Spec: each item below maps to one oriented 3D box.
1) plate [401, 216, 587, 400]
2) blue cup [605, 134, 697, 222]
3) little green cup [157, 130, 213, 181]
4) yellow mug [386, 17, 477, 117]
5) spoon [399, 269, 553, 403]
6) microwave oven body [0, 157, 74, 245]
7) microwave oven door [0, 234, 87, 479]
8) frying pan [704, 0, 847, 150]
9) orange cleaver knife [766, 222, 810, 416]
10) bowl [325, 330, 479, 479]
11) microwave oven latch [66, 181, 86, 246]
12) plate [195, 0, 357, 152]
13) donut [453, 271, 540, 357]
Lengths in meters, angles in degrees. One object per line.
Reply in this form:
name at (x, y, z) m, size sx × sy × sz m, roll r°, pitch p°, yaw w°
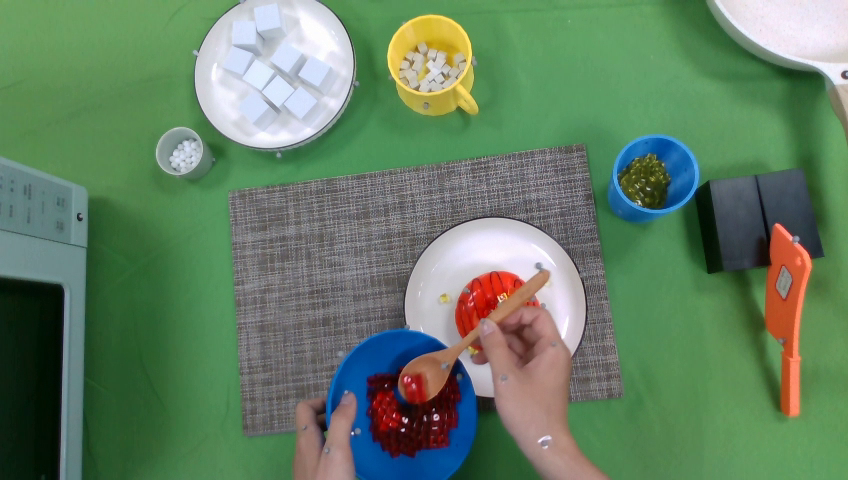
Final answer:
plate at (0.080, 0.077, 0.699) m, size 0.209 × 0.038 × 0.208 m, roll -1°, pitch 83°, yaw 6°
blue cup at (0.242, -0.060, 0.672) m, size 0.092 × 0.100 × 0.092 m, roll -1°, pitch 80°, yaw 5°
little green cup at (-0.301, -0.104, 0.769) m, size 0.061 × 0.039 × 0.061 m, roll -1°, pitch 83°, yaw 7°
yellow mug at (0.018, -0.198, 0.734) m, size 0.100 × 0.064 × 0.130 m, roll -44°, pitch 81°, yaw -1°
spoon at (0.046, 0.090, 0.562) m, size 0.194 × 0.022 × 0.041 m, roll -44°, pitch 76°, yaw 25°
microwave oven body at (-0.591, 0.139, 0.652) m, size 0.326 × 0.261 × 0.440 m, roll -4°, pitch 82°, yaw 5°
microwave oven door at (-0.444, 0.170, 0.626) m, size 0.039 × 0.245 × 0.354 m, roll -4°, pitch 81°, yaw 6°
frying pan at (0.456, -0.227, 0.670) m, size 0.306 × 0.103 × 0.485 m, roll -2°, pitch 74°, yaw 7°
orange cleaver knife at (0.384, 0.086, 0.646) m, size 0.012 × 0.077 × 0.212 m, roll -8°, pitch 110°, yaw 5°
bowl at (-0.031, 0.170, 0.600) m, size 0.152 × 0.077 × 0.150 m, roll 8°, pitch 68°, yaw -20°
microwave oven latch at (-0.443, -0.032, 0.757) m, size 0.030 × 0.029 × 0.079 m, roll -1°, pitch 83°, yaw 6°
plate at (-0.185, -0.210, 0.772) m, size 0.207 × 0.039 × 0.207 m, roll -1°, pitch 82°, yaw 6°
donut at (0.082, 0.084, 0.687) m, size 0.099 × 0.048 × 0.099 m, roll -1°, pitch 85°, yaw 7°
